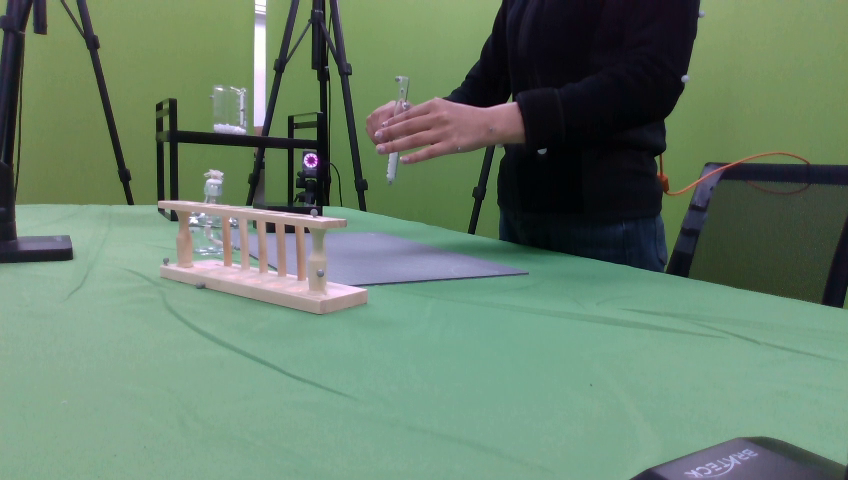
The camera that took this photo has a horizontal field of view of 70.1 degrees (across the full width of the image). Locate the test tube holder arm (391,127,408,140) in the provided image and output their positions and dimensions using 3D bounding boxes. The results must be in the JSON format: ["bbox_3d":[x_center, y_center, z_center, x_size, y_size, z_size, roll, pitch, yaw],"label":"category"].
[{"bbox_3d":[-0.043,-0.158,0.894,0.010,0.015,0.087,6,12,-23],"label":"test tube holder arm"}]

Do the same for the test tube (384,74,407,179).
[{"bbox_3d":[-0.041,-0.161,0.869,0.017,0.150,0.017,8,16,-2],"label":"test tube"}]

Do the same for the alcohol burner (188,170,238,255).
[{"bbox_3d":[-0.298,-0.039,0.852,0.078,0.119,0.078,3,6,0],"label":"alcohol burner"}]

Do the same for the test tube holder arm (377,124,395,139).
[{"bbox_3d":[-0.059,-0.169,0.935,0.013,0.015,0.178,9,11,-13],"label":"test tube holder arm"}]

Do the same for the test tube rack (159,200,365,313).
[{"bbox_3d":[-0.173,0.008,0.624,0.241,0.085,0.067,7,9,34],"label":"test tube rack"}]

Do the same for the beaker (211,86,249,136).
[{"bbox_3d":[-0.413,-0.274,1.297,0.074,0.100,0.083,-5,11,-44],"label":"beaker"}]

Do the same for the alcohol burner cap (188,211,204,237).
[{"bbox_3d":[-0.389,-0.029,1.026,0.034,0.048,0.034,2,8,0],"label":"alcohol burner cap"}]
